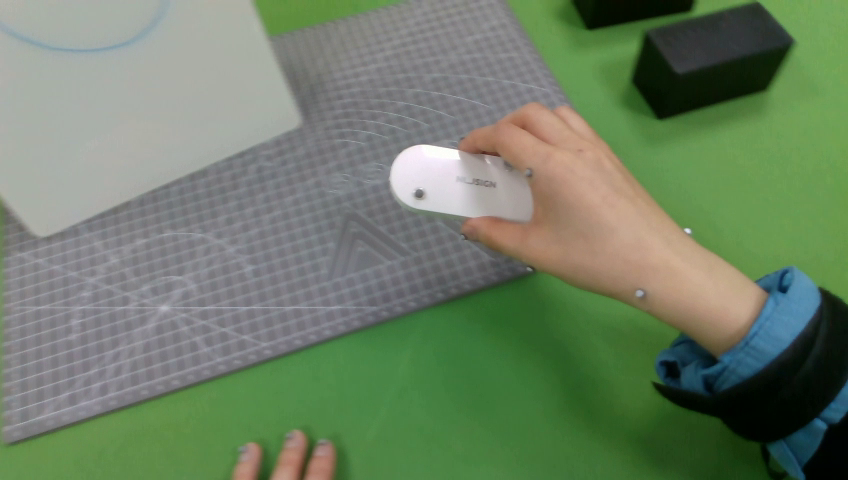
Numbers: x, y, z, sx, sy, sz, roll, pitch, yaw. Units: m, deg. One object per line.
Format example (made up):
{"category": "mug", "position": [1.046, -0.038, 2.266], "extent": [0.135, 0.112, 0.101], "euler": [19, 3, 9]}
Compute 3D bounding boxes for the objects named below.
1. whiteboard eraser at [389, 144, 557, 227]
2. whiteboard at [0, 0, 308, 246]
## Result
{"category": "whiteboard eraser", "position": [0.029, -0.033, 0.366], "extent": [0.101, 0.019, 0.041], "euler": [8, 78, -4]}
{"category": "whiteboard", "position": [-0.247, -0.190, 0.417], "extent": [0.217, 0.308, 0.142], "euler": [-26, 42, -12]}
